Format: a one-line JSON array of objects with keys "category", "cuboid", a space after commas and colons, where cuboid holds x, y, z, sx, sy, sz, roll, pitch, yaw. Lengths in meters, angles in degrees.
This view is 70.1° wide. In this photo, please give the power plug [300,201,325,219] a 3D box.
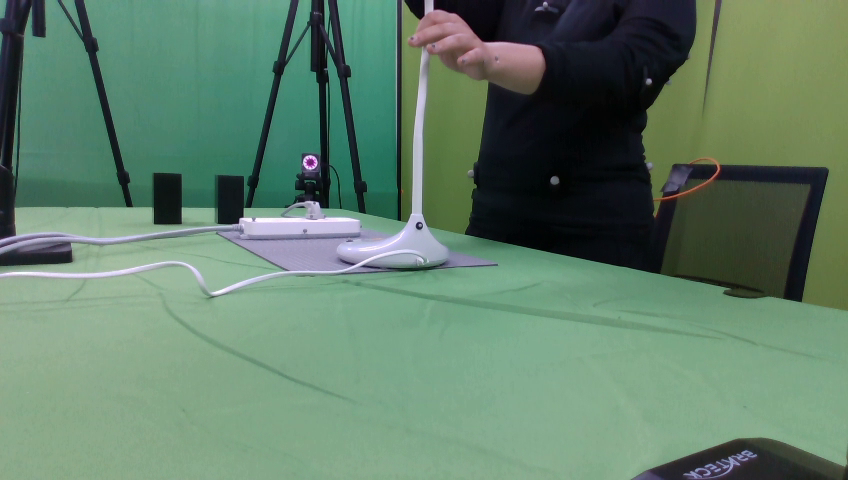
[{"category": "power plug", "cuboid": [-0.207, -0.046, 1.120, 0.035, 0.052, 0.072, 1, 4, -21]}]

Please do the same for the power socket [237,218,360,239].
[{"category": "power socket", "cuboid": [-0.220, -0.023, 1.080, 0.228, 0.032, 0.072, -2, 8, -33]}]

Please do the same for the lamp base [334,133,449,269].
[{"category": "lamp base", "cuboid": [-0.034, -0.057, 0.830, 0.161, 0.180, 0.178, -3, 12, -36]}]
